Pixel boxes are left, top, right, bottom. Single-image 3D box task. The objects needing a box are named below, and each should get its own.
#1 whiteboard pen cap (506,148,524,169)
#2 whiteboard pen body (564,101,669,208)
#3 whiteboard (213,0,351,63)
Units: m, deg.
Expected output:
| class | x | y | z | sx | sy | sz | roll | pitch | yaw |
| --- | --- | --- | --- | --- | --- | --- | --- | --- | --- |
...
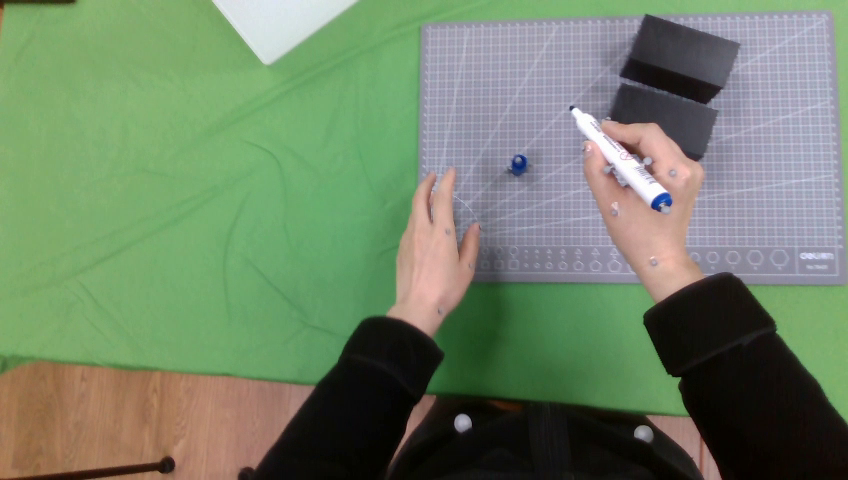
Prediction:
| class | x | y | z | sx | sy | sz | roll | pitch | yaw |
| --- | --- | --- | --- | --- | --- | --- | --- | --- | --- |
| whiteboard pen cap | 0.098 | -0.088 | 0.656 | 0.018 | 0.033 | 0.018 | 0 | 85 | 4 |
| whiteboard pen body | 0.145 | -0.073 | 0.474 | 0.017 | 0.017 | 0.139 | -29 | 48 | 2 |
| whiteboard | -0.179 | -0.379 | 0.609 | 0.217 | 0.308 | 0.142 | -35 | 62 | 1 |
